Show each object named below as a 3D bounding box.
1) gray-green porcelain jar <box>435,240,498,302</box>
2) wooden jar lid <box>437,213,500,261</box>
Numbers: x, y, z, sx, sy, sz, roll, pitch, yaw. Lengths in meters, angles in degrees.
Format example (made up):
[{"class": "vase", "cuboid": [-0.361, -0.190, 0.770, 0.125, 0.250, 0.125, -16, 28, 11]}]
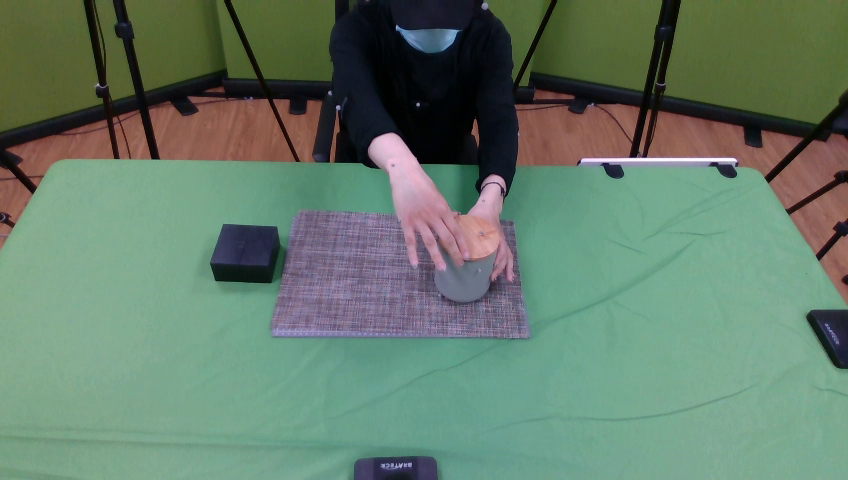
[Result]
[{"class": "gray-green porcelain jar", "cuboid": [0.073, 0.041, 1.083, 0.106, 0.127, 0.105, 2, 46, -2]}, {"class": "wooden jar lid", "cuboid": [0.076, -0.002, 1.038, 0.108, 0.021, 0.107, 2, 45, -2]}]
